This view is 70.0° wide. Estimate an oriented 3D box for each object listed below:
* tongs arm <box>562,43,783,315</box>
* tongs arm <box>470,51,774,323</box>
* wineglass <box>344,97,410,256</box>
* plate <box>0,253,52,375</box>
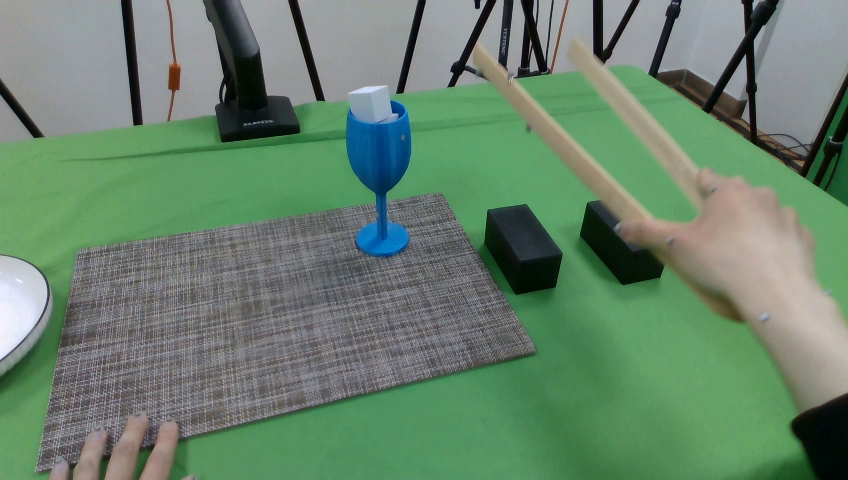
[{"bbox_3d":[0.215,-0.084,0.579,0.028,0.028,0.383,-3,46,-20],"label":"tongs arm"},{"bbox_3d":[0.153,-0.071,0.555,0.051,0.027,0.380,-13,49,-24],"label":"tongs arm"},{"bbox_3d":[-0.052,-0.068,0.686,0.074,0.174,0.073,1,39,0],"label":"wineglass"},{"bbox_3d":[-0.471,0.090,0.583,0.209,0.038,0.207,1,38,-1],"label":"plate"}]
